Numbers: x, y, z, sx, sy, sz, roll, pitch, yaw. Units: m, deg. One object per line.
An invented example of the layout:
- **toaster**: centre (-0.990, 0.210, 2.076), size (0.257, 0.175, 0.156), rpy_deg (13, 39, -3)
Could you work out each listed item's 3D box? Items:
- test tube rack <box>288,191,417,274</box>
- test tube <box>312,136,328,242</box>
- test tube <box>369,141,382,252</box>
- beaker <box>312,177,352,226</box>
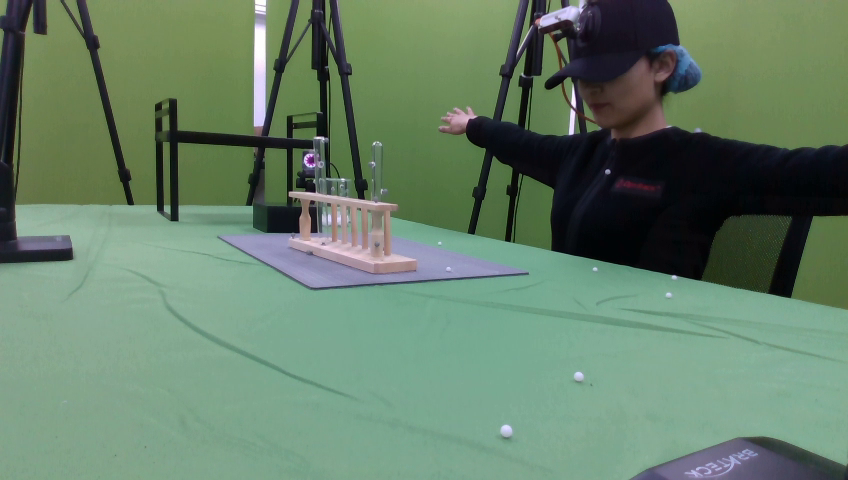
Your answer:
- **test tube rack**: centre (-0.106, -0.017, 0.835), size (0.067, 0.085, 0.241), rpy_deg (-3, 9, -37)
- **test tube**: centre (-0.146, -0.070, 0.850), size (0.017, 0.150, 0.017), rpy_deg (0, 11, 0)
- **test tube**: centre (-0.065, -0.056, 0.808), size (0.017, 0.150, 0.017), rpy_deg (1, 8, 0)
- **beaker**: centre (-0.194, -0.081, 1.266), size (0.084, 0.100, 0.073), rpy_deg (-3, 9, -29)
